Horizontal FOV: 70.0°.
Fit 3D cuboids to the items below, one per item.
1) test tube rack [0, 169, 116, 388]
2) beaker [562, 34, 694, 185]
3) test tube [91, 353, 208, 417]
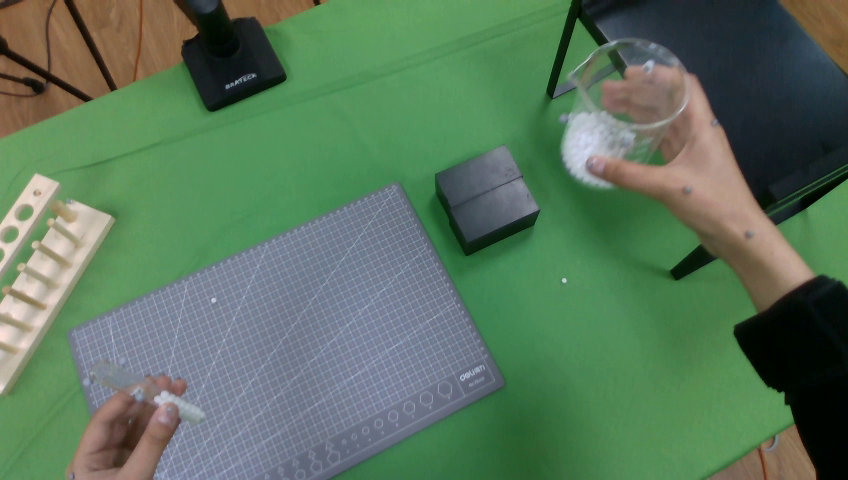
[{"bbox_3d":[-0.479,0.046,0.721,0.066,0.086,0.241,21,72,9],"label":"test tube rack"},{"bbox_3d":[0.144,-0.093,0.459,0.084,0.101,0.073,14,69,8],"label":"beaker"},{"bbox_3d":[-0.204,0.115,0.465,0.017,0.151,0.017,-3,63,7],"label":"test tube"}]
